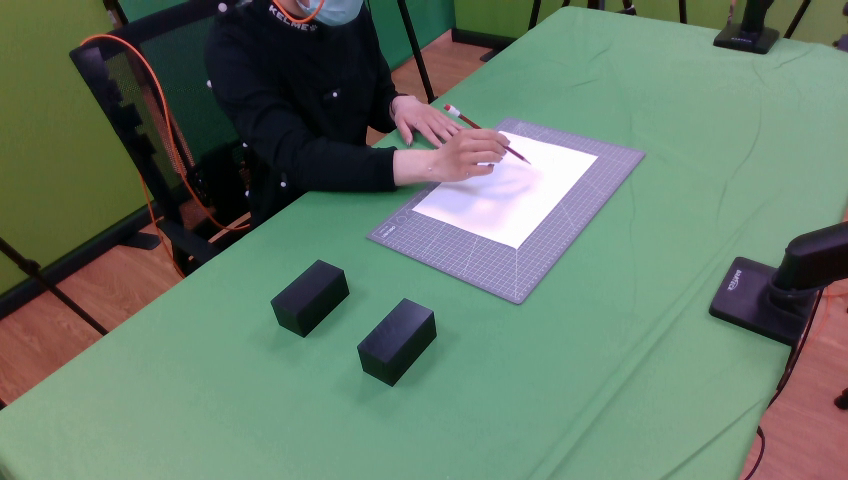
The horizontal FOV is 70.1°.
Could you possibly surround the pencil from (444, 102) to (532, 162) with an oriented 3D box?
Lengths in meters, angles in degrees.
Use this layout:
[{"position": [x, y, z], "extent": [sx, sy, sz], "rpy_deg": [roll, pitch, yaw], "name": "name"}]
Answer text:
[{"position": [0.113, -0.181, 1.030], "extent": [0.195, 0.012, 0.012], "rpy_deg": [28, 34, -24], "name": "pencil"}]
